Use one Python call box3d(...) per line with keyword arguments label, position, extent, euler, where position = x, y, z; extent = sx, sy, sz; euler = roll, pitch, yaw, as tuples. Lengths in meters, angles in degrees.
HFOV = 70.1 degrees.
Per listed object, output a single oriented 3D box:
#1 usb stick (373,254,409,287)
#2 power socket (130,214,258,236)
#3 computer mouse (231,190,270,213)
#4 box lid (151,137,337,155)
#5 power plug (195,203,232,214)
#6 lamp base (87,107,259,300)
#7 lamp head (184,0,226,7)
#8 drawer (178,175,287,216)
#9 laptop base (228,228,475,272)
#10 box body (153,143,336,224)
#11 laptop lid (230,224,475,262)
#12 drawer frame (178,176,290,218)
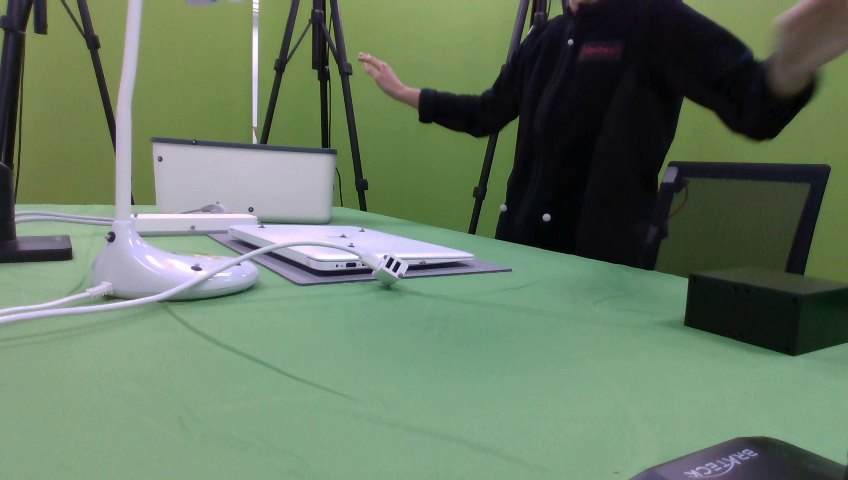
box3d(label="usb stick", position=(-0.039, 0.035, 0.663), extent=(0.027, 0.021, 0.059), euler=(29, -22, -7))
box3d(label="power socket", position=(-0.398, -0.028, 1.049), extent=(0.228, 0.032, 0.072), euler=(-3, 8, -34))
box3d(label="computer mouse", position=(-0.382, -0.086, 1.342), extent=(0.063, 0.041, 0.117), euler=(11, 10, -4))
box3d(label="box lid", position=(-0.379, -0.203, 1.334), extent=(0.372, 0.015, 0.262), euler=(2, 7, -9))
box3d(label="power plug", position=(-0.392, -0.043, 1.140), extent=(0.072, 0.052, 0.035), euler=(-11, 2, 36))
box3d(label="lamp base", position=(-0.254, -0.039, 0.603), extent=(0.160, 0.180, 0.179), euler=(5, 10, 18))
box3d(label="lamp head", position=(-0.229, -0.320, 0.627), extent=(0.112, 0.112, 0.123), euler=(6, -35, 26))
box3d(label="drawer", position=(-0.414, -0.103, 1.341), extent=(0.212, 0.073, 0.194), euler=(5, 6, -11))
box3d(label="laptop base", position=(-0.122, 0.011, 0.889), extent=(0.237, 0.023, 0.352), euler=(1, 7, -35))
box3d(label="box body", position=(-0.380, -0.130, 1.344), extent=(0.365, 0.160, 0.253), euler=(1, 7, -9))
box3d(label="laptop lid", position=(-0.119, 0.000, 0.889), extent=(0.243, 0.013, 0.355), euler=(1, 7, -33))
box3d(label="drawer frame", position=(-0.409, -0.099, 1.340), extent=(0.214, 0.082, 0.201), euler=(-4, 7, -10))
